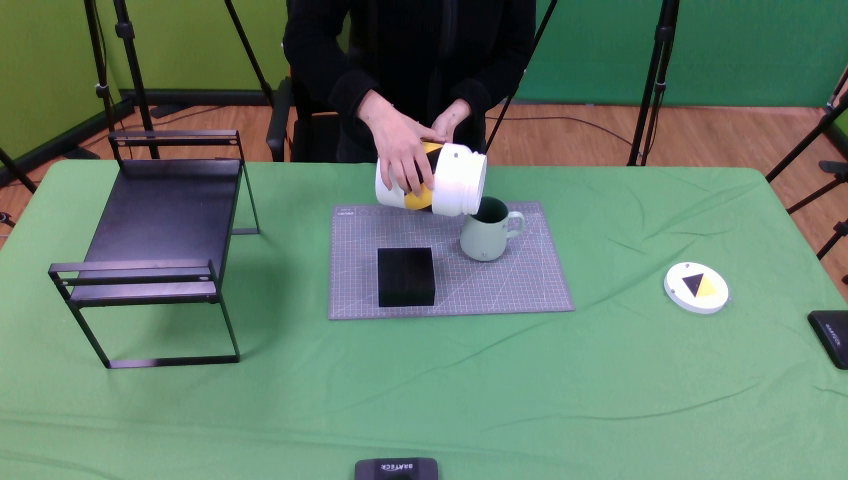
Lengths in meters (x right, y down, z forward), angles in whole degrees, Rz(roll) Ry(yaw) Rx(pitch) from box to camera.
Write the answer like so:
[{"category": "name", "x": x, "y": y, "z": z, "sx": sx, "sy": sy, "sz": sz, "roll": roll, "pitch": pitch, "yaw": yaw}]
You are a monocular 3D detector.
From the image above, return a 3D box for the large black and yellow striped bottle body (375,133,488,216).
[{"category": "large black and yellow striped bottle body", "x": 0.016, "y": -0.116, "z": 1.094, "sx": 0.184, "sy": 0.131, "sz": 0.130, "roll": 11, "pitch": 47, "yaw": 9}]

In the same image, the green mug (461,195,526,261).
[{"category": "green mug", "x": 0.136, "y": -0.024, "z": 1.168, "sx": 0.125, "sy": 0.105, "sz": 0.092, "roll": -7, "pitch": 47, "yaw": -10}]

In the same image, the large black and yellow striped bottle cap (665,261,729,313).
[{"category": "large black and yellow striped bottle cap", "x": 0.518, "y": 0.087, "z": 1.152, "sx": 0.115, "sy": 0.019, "sz": 0.114, "roll": 2, "pitch": 47, "yaw": -2}]
